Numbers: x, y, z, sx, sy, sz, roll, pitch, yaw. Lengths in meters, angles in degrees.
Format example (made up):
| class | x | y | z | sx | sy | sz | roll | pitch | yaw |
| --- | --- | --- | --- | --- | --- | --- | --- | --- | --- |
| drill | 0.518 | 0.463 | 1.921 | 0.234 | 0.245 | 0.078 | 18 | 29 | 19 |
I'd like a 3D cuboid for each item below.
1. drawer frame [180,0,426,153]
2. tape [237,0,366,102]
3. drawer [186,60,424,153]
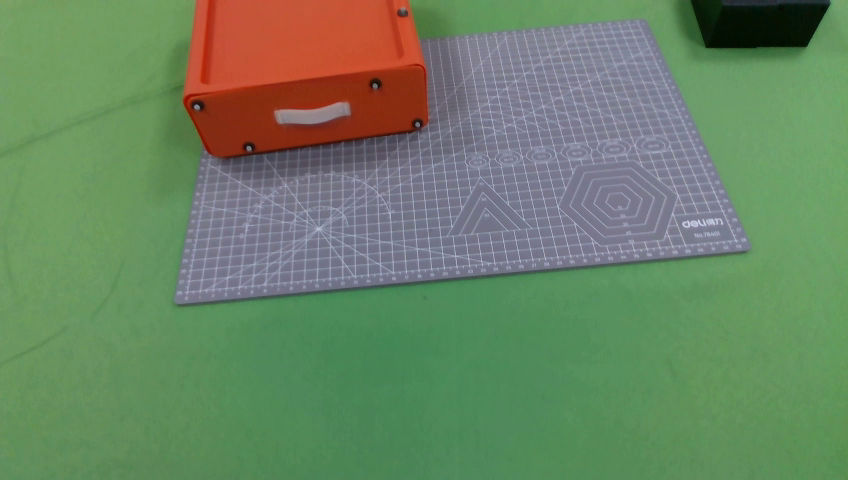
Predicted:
| class | x | y | z | sx | sy | sz | roll | pitch | yaw |
| --- | --- | --- | --- | --- | --- | --- | --- | --- | --- |
| drawer frame | -0.113 | -0.194 | 0.577 | 0.202 | 0.083 | 0.211 | -10 | 55 | -3 |
| tape | -0.115 | -0.191 | 0.585 | 0.117 | 0.053 | 0.115 | -1 | 56 | 2 |
| drawer | -0.112 | -0.191 | 0.576 | 0.194 | 0.074 | 0.209 | -9 | 55 | -3 |
